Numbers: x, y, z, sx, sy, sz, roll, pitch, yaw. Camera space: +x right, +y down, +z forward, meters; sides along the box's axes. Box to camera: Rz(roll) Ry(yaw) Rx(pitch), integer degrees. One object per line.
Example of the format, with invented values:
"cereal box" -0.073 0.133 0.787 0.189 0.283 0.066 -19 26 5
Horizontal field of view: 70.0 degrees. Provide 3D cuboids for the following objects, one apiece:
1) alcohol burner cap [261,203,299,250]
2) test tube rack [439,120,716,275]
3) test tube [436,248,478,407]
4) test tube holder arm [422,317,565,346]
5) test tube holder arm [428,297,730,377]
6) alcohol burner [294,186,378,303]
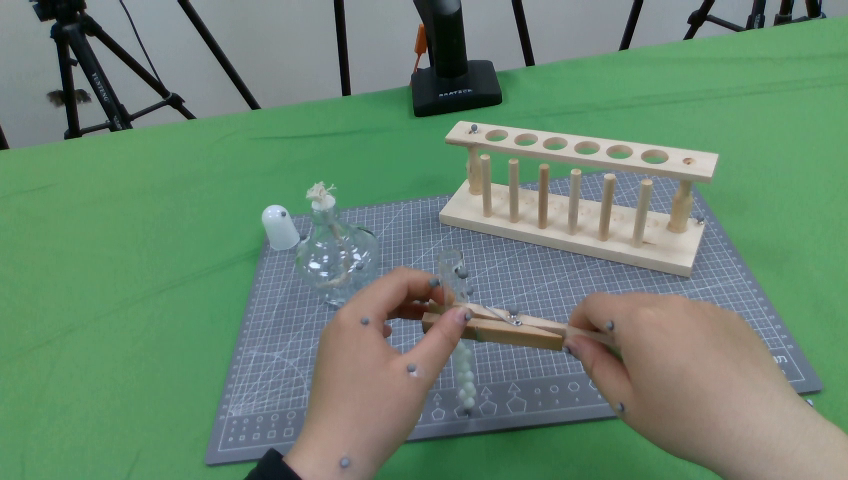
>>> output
"alcohol burner cap" -0.151 -0.017 0.629 0.034 0.048 0.033 -5 41 5
"test tube rack" 0.130 -0.046 0.565 0.241 0.086 0.066 13 46 26
"test tube" 0.023 0.064 0.397 0.017 0.152 0.017 -5 42 5
"test tube holder arm" 0.042 0.057 0.375 0.087 0.015 0.010 0 48 13
"test tube holder arm" 0.086 0.057 0.365 0.177 0.015 0.013 8 51 19
"alcohol burner" -0.082 0.000 0.538 0.078 0.120 0.077 -5 42 5
